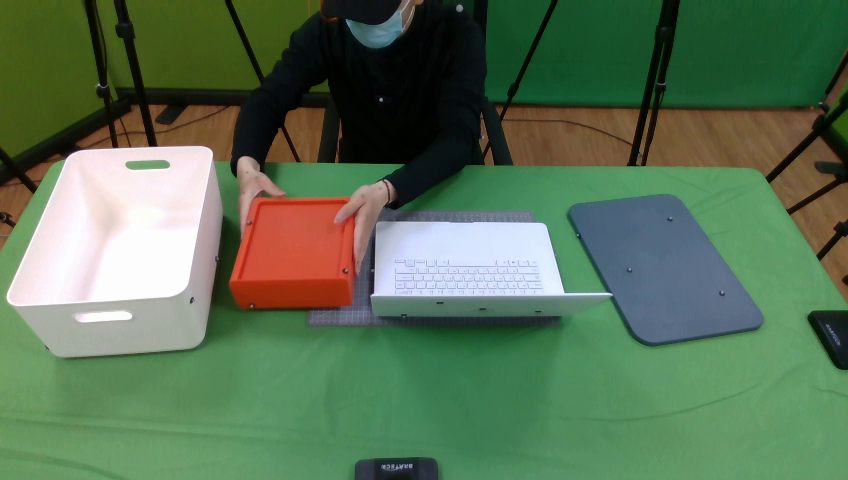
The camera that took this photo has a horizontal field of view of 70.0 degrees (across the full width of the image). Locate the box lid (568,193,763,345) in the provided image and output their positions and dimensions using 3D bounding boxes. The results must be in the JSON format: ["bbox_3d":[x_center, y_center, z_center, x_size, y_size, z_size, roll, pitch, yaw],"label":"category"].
[{"bbox_3d":[0.465,0.040,1.203,0.264,0.015,0.369,-7,47,-11],"label":"box lid"}]

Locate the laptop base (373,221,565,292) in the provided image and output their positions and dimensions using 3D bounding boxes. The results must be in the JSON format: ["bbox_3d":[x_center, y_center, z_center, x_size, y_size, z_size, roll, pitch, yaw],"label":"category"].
[{"bbox_3d":[0.080,0.049,1.159,0.355,0.023,0.234,0,43,-4],"label":"laptop base"}]

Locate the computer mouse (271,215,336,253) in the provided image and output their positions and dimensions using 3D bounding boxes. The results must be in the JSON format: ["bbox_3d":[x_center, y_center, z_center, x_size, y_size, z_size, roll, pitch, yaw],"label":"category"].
[{"bbox_3d":[-0.226,-0.012,1.142,0.117,0.041,0.062,12,42,-3],"label":"computer mouse"}]

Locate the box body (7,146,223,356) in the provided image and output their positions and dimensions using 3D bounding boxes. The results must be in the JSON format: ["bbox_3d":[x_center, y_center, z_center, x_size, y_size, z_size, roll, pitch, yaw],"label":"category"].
[{"bbox_3d":[-0.499,0.012,1.051,0.254,0.161,0.361,-3,47,-7],"label":"box body"}]

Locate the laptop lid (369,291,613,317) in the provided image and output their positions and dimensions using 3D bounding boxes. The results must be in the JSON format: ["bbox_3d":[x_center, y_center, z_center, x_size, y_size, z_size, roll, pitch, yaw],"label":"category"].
[{"bbox_3d":[0.092,0.104,0.965,0.357,0.242,0.013,0,76,-5],"label":"laptop lid"}]

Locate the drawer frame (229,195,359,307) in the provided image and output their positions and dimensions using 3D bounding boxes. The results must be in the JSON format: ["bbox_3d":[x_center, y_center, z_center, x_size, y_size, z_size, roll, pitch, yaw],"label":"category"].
[{"bbox_3d":[-0.226,0.015,1.102,0.202,0.083,0.212,-1,46,-1],"label":"drawer frame"}]

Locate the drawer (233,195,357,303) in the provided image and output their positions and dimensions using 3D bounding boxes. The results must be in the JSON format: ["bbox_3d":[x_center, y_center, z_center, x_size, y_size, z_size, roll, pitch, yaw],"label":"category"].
[{"bbox_3d":[-0.227,0.013,1.107,0.194,0.073,0.210,-1,46,-1],"label":"drawer"}]
